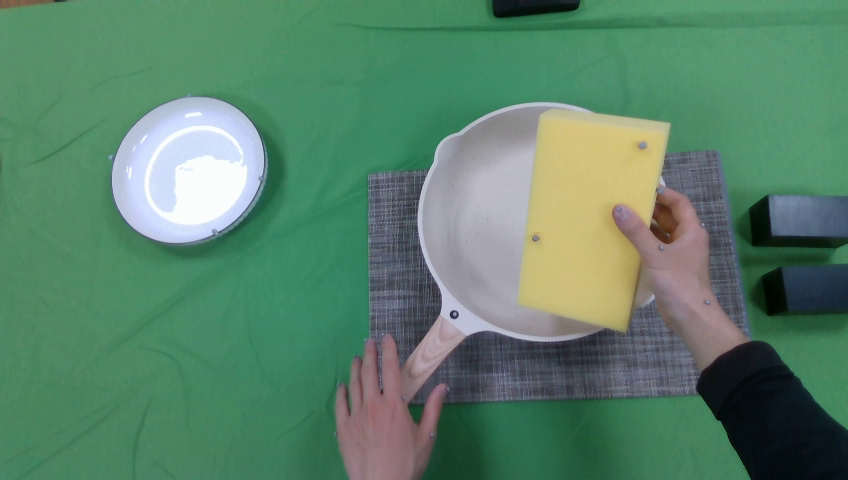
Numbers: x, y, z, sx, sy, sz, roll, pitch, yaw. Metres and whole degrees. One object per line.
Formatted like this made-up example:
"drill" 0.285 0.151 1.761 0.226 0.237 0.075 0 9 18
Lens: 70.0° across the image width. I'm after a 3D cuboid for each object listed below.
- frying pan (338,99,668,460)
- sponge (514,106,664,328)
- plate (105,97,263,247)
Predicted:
"frying pan" 0.069 0.050 0.703 0.305 0.103 0.487 38 73 13
"sponge" 0.166 -0.025 0.624 0.117 0.061 0.208 11 112 20
"plate" -0.313 -0.088 0.805 0.207 0.039 0.206 -1 76 4
